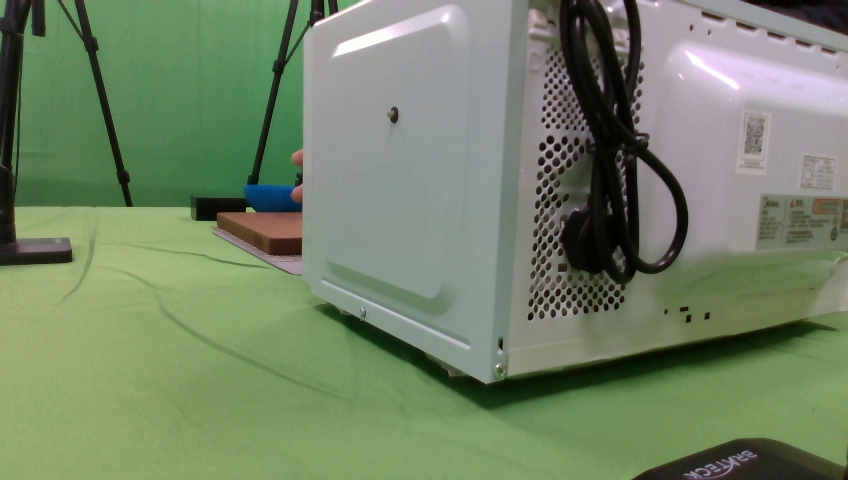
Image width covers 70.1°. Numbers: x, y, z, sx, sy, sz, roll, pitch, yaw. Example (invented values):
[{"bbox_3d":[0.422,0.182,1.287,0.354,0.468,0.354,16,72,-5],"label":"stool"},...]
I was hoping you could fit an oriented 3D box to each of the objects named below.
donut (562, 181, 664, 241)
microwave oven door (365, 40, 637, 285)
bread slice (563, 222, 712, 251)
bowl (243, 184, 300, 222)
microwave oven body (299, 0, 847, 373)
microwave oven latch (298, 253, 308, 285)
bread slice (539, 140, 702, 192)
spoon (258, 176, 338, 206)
[{"bbox_3d":[0.187,-0.030,0.601,0.099,0.048,0.099,10,-8,2],"label":"donut"},{"bbox_3d":[0.105,-0.081,0.693,0.358,0.243,0.039,-2,9,-30],"label":"microwave oven door"},{"bbox_3d":[0.207,-0.005,0.577,0.105,0.019,0.131,2,5,-11],"label":"bread slice"},{"bbox_3d":[-0.321,-0.081,1.333,0.151,0.077,0.151,3,8,0],"label":"bowl"},{"bbox_3d":[0.152,-0.055,0.542,0.444,0.260,0.324,-2,8,-33],"label":"microwave oven body"},{"bbox_3d":[-0.081,0.027,0.583,0.079,0.029,0.030,-2,8,-33],"label":"microwave oven latch"},{"bbox_3d":[0.194,-0.072,0.582,0.107,0.018,0.133,-1,20,-35],"label":"bread slice"},{"bbox_3d":[-0.279,-0.112,1.356,0.194,0.021,0.041,-27,19,-27],"label":"spoon"}]
